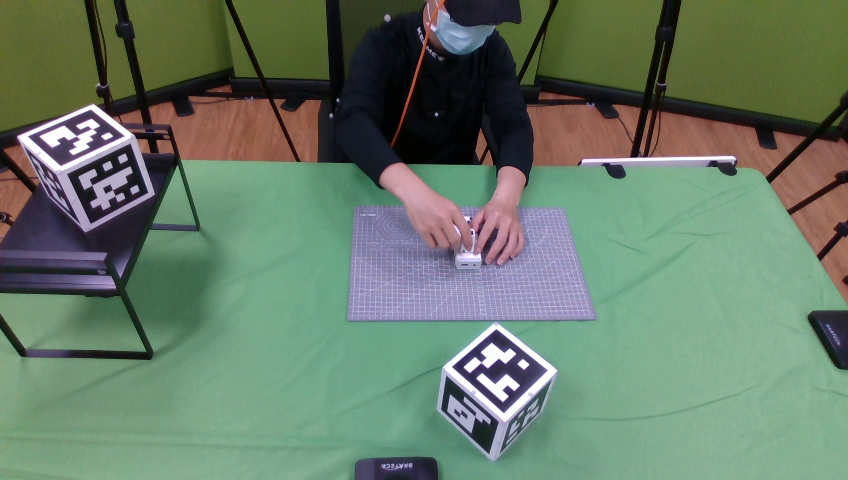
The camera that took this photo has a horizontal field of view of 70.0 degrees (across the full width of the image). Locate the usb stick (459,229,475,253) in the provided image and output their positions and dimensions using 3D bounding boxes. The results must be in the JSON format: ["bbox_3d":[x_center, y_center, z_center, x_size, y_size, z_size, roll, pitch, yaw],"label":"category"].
[{"bbox_3d":[0.080,0.007,1.151,0.027,0.059,0.021,-1,45,-7],"label":"usb stick"}]

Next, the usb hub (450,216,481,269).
[{"bbox_3d":[0.081,0.004,1.195,0.049,0.025,0.124,0,47,-4],"label":"usb hub"}]
